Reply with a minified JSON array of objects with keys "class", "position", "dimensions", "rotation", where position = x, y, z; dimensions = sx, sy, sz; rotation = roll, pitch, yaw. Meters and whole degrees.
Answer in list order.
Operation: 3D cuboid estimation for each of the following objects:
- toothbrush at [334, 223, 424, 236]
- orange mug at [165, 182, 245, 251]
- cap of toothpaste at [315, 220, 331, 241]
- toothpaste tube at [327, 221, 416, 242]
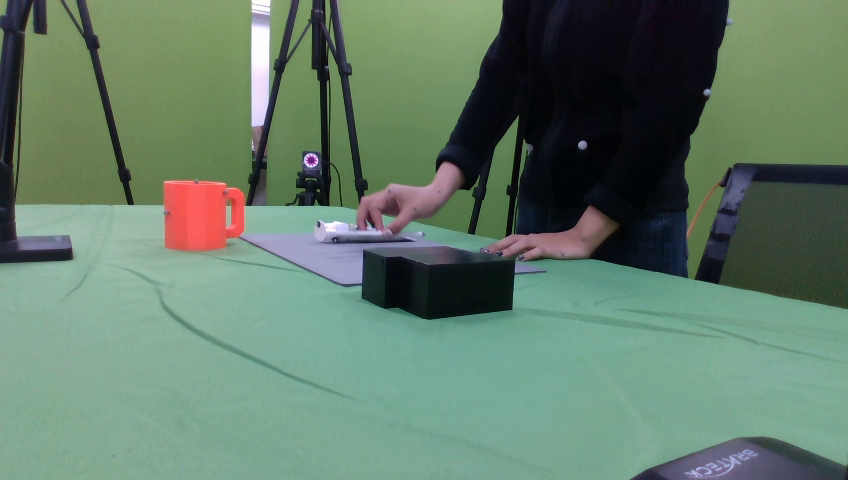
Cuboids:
[{"class":"toothbrush","position":[-0.064,-0.014,0.918],"dimensions":[0.014,0.016,0.183],"rotation":[-11,-9,42]},{"class":"orange mug","position":[-0.326,-0.040,0.911],"dimensions":[0.083,0.101,0.127],"rotation":[8,14,37]},{"class":"cap of toothpaste","position":[-0.164,-0.016,0.982],"dimensions":[0.011,0.037,0.037],"rotation":[-9,12,-44]},{"class":"toothpaste tube","position":[-0.095,-0.012,1.026],"dimensions":[0.166,0.034,0.055],"rotation":[2,13,-33]}]
